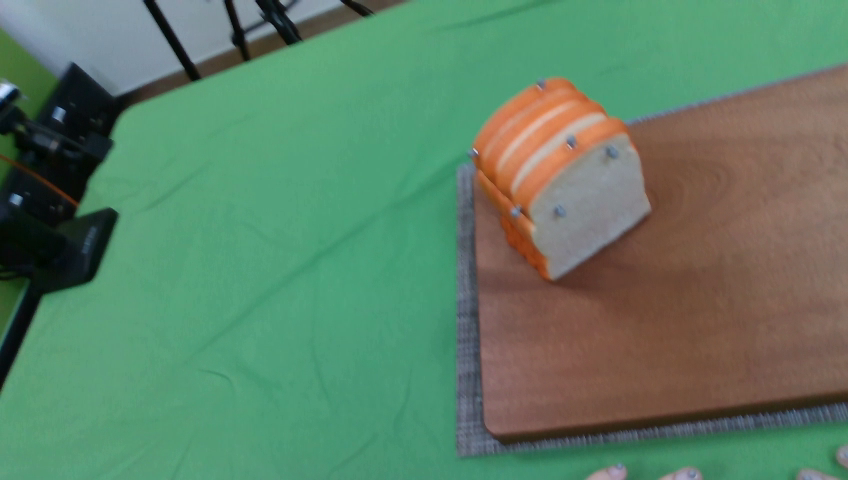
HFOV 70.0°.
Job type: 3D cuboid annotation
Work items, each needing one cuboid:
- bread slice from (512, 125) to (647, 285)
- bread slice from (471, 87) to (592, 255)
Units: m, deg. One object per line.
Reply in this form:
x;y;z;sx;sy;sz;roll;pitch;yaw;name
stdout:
0.117;-0.023;0.453;0.105;0.133;0.019;-37;53;2;bread slice
0.097;-0.056;0.486;0.107;0.136;0.018;-34;45;-1;bread slice
